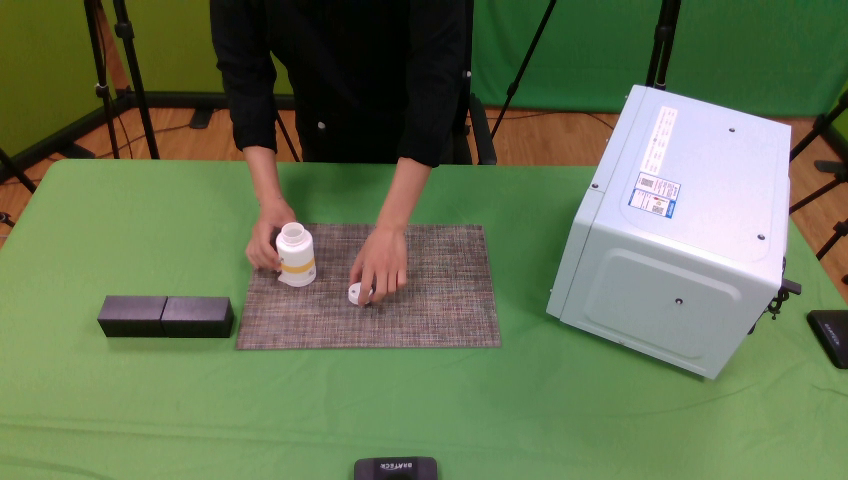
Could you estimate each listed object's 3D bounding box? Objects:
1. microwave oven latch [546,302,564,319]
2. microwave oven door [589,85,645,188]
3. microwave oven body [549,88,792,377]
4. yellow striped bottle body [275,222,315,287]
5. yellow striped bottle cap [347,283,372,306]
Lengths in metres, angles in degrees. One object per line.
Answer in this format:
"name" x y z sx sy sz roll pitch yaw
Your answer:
"microwave oven latch" 0.242 0.102 1.081 0.030 0.029 0.079 22 48 17
"microwave oven door" 0.341 -0.107 1.148 0.039 0.245 0.354 20 48 15
"microwave oven body" 0.456 -0.028 1.088 0.325 0.261 0.440 20 47 16
"yellow striped bottle body" -0.230 0.023 1.082 0.063 0.121 0.062 2 46 -2
"yellow striped bottle cap" -0.116 0.097 1.090 0.044 0.019 0.044 5 37 -3
